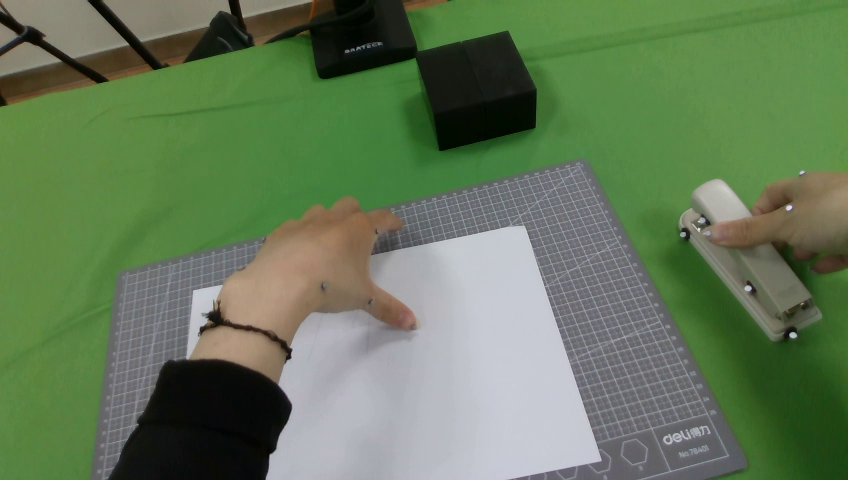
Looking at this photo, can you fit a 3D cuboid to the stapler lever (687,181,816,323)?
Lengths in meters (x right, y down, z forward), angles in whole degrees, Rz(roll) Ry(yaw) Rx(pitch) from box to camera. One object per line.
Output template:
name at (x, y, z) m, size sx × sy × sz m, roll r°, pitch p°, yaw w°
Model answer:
stapler lever at (0.240, 0.004, 0.451) m, size 0.027 × 0.040 × 0.117 m, roll -32°, pitch 54°, yaw 8°

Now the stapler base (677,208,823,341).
stapler base at (0.249, 0.015, 0.472) m, size 0.041 × 0.025 × 0.129 m, roll -32°, pitch 55°, yaw 8°
